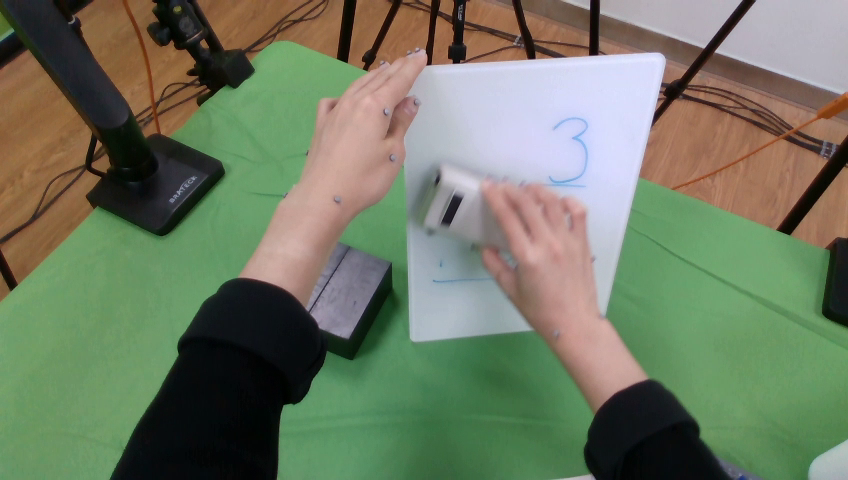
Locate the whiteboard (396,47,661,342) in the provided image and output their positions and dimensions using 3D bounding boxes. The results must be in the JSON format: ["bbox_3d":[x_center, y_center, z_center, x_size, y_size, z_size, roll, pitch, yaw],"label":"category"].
[{"bbox_3d":[0.079,-0.063,0.619,0.217,0.308,0.142,-4,38,-5],"label":"whiteboard"}]

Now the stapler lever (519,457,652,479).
[{"bbox_3d":[0.144,0.216,0.539,0.118,0.040,0.026,-6,52,-4],"label":"stapler lever"}]

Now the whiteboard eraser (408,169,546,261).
[{"bbox_3d":[0.047,-0.022,0.536,0.113,0.056,0.041,15,30,-20],"label":"whiteboard eraser"}]

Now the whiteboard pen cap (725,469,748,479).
[{"bbox_3d":[0.300,0.234,0.568,0.018,0.018,0.033,-27,61,-19],"label":"whiteboard pen cap"}]

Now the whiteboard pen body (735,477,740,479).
[{"bbox_3d":[0.332,0.273,0.540,0.017,0.017,0.139,-27,60,-19],"label":"whiteboard pen body"}]

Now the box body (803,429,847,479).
[{"bbox_3d":[0.527,0.278,0.467,0.254,0.161,0.360,-16,59,-13],"label":"box body"}]

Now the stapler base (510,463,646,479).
[{"bbox_3d":[0.146,0.230,0.559,0.131,0.024,0.041,-7,53,-3],"label":"stapler base"}]
